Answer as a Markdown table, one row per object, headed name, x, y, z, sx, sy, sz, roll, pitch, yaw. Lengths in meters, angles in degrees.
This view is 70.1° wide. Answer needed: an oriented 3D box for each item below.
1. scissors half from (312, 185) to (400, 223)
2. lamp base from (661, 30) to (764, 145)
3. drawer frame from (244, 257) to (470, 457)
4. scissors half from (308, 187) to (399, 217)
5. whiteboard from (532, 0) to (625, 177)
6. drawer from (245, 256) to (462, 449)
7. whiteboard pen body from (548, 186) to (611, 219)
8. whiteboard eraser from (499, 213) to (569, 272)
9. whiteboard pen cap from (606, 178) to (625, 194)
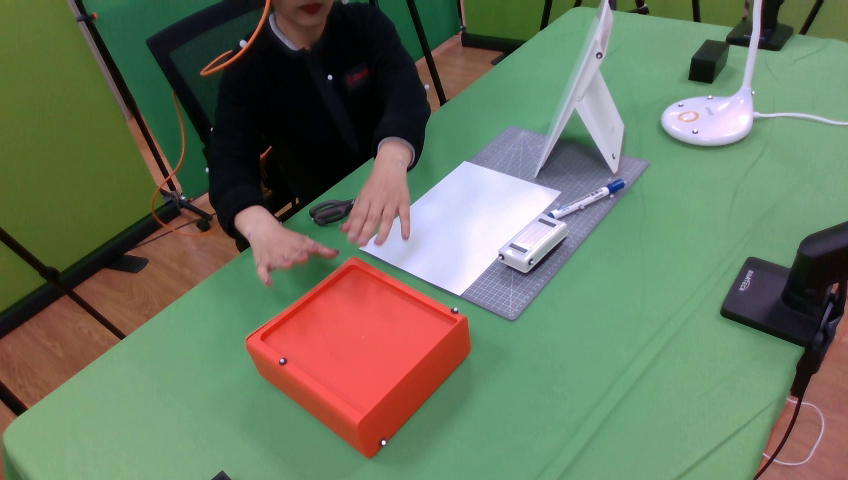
| name | x | y | z | sx | sy | sz | roll | pitch | yaw |
| --- | --- | --- | --- | --- | --- | --- | --- | --- | --- |
| scissors half | -0.119 | -0.066 | 1.088 | 0.176 | 0.013 | 0.040 | -25 | 35 | -24 |
| lamp base | 0.535 | -0.287 | 1.096 | 0.179 | 0.181 | 0.159 | -10 | 40 | -4 |
| drawer frame | -0.084 | 0.138 | 0.788 | 0.212 | 0.083 | 0.202 | 25 | 50 | 33 |
| scissors half | -0.127 | -0.074 | 1.104 | 0.176 | 0.013 | 0.039 | -16 | 26 | -10 |
| whiteboard | 0.320 | -0.259 | 1.050 | 0.144 | 0.306 | 0.217 | 21 | 45 | 5 |
| drawer | -0.089 | 0.136 | 0.792 | 0.210 | 0.073 | 0.195 | 26 | 51 | 34 |
| whiteboard pen body | 0.267 | -0.066 | 1.004 | 0.141 | 0.017 | 0.017 | -25 | 43 | -13 |
| whiteboard eraser | 0.168 | 0.006 | 0.923 | 0.055 | 0.042 | 0.113 | 29 | 53 | 34 |
| whiteboard pen cap | 0.320 | -0.090 | 1.016 | 0.033 | 0.018 | 0.018 | -27 | 43 | -13 |
